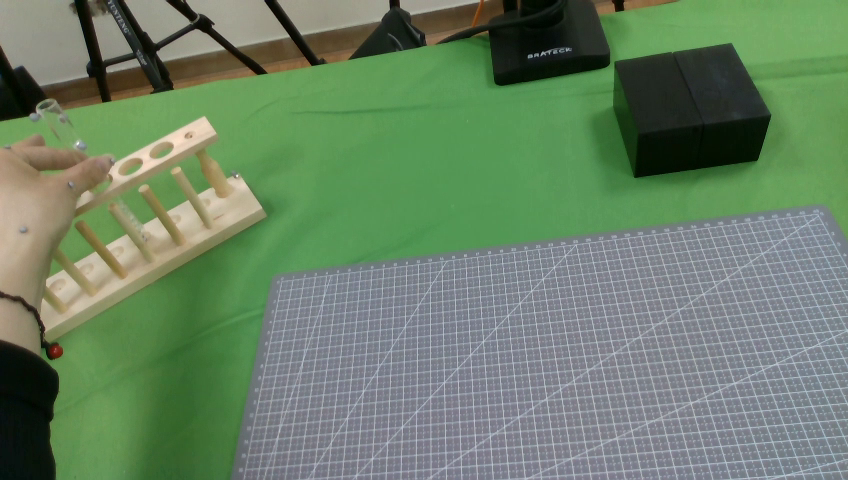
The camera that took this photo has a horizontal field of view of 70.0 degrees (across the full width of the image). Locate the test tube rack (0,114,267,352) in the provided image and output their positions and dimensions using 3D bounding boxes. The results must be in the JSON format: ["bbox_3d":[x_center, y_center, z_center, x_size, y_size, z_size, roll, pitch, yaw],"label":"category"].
[{"bbox_3d":[-0.275,-0.009,0.543,0.242,0.086,0.066,-32,51,-12],"label":"test tube rack"}]

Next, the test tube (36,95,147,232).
[{"bbox_3d":[-0.278,-0.058,0.518,0.017,0.152,0.017,-6,48,7],"label":"test tube"}]
